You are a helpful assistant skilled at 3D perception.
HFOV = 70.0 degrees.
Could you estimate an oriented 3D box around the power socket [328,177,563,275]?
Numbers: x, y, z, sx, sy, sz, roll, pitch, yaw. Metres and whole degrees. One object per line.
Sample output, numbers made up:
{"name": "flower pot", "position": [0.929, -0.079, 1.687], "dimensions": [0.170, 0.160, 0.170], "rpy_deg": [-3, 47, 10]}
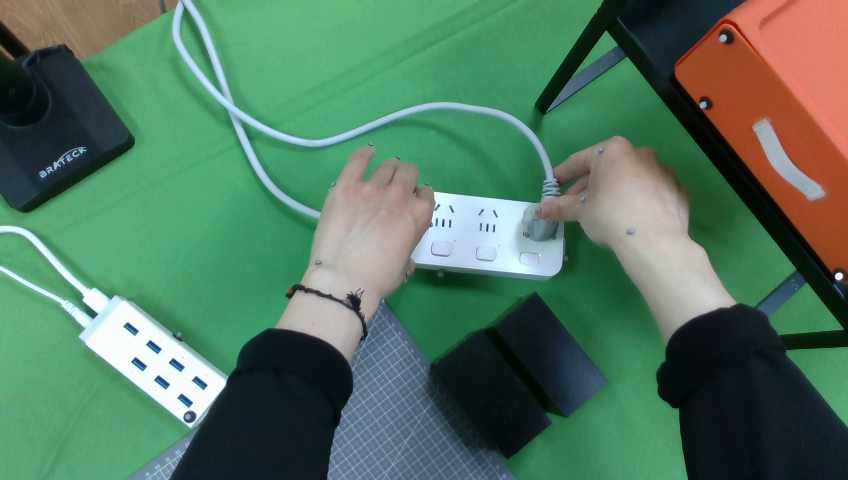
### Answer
{"name": "power socket", "position": [0.025, -0.013, 0.574], "dimensions": [0.227, 0.032, 0.072], "rpy_deg": [6, 79, -5]}

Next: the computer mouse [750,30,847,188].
{"name": "computer mouse", "position": [0.291, -0.095, 0.429], "dimensions": [0.063, 0.041, 0.117], "rpy_deg": [-40, 85, -8]}

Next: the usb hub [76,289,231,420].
{"name": "usb hub", "position": [-0.234, 0.099, 0.527], "dimensions": [0.125, 0.025, 0.049], "rpy_deg": [38, 79, 1]}

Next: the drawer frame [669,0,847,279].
{"name": "drawer frame", "position": [0.319, -0.115, 0.420], "dimensions": [0.213, 0.083, 0.201], "rpy_deg": [-37, 86, -12]}

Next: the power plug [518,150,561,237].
{"name": "power plug", "position": [0.109, -0.038, 0.556], "dimensions": [0.035, 0.052, 0.072], "rpy_deg": [19, 79, -16]}

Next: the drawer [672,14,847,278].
{"name": "drawer", "position": [0.316, -0.112, 0.420], "dimensions": [0.212, 0.073, 0.194], "rpy_deg": [-36, 85, -12]}
